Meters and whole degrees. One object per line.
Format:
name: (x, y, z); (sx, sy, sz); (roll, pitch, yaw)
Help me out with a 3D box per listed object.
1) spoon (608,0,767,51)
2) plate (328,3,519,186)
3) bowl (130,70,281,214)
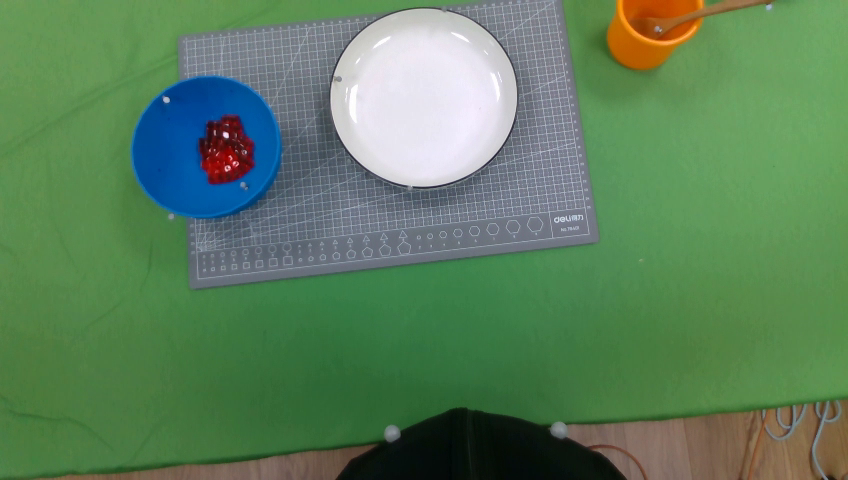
spoon: (0.282, -0.234, 0.629); (0.022, 0.192, 0.041); (13, 80, -41)
plate: (0.000, -0.159, 0.673); (0.209, 0.038, 0.208); (0, 81, 1)
bowl: (-0.220, -0.094, 0.644); (0.151, 0.077, 0.151); (0, 81, 1)
